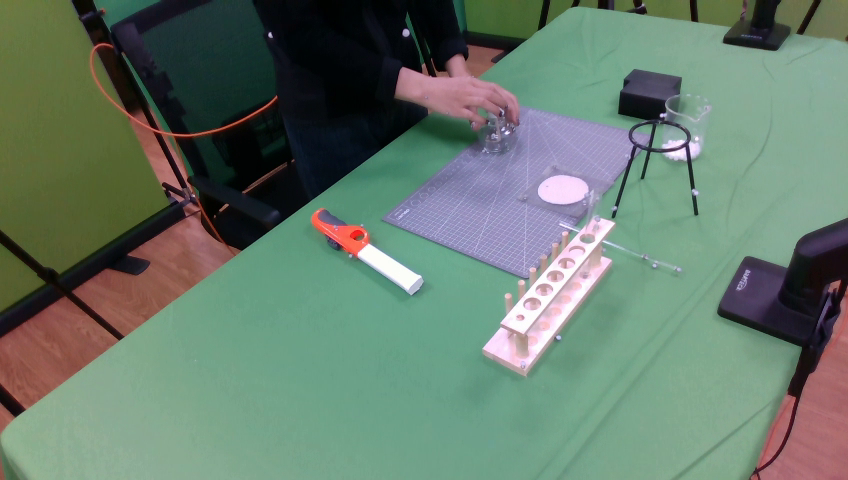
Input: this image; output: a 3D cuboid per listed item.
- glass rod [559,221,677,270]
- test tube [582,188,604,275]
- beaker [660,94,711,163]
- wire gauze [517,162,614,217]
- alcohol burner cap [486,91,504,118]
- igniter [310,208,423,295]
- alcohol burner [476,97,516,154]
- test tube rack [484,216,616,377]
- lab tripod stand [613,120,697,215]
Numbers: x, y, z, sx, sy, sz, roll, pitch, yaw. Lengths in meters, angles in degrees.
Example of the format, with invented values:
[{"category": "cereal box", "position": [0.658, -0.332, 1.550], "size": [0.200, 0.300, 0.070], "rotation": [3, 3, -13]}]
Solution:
[{"category": "glass rod", "position": [0.292, 0.007, 0.927], "size": [0.198, 0.008, 0.008], "rotation": [26, 52, 36]}, {"category": "test tube", "position": [0.229, -0.007, 0.821], "size": [0.017, 0.151, 0.017], "rotation": [-3, 42, 3]}, {"category": "beaker", "position": [0.457, -0.192, 1.063], "size": [0.074, 0.101, 0.083], "rotation": [-7, 41, 4]}, {"category": "wire gauze", "position": [0.245, -0.088, 1.046], "size": [0.120, 0.011, 0.125], "rotation": [25, 50, 32]}, {"category": "alcohol burner cap", "position": [0.129, -0.253, 1.121], "size": [0.034, 0.048, 0.033], "rotation": [-11, 36, 9]}, {"category": "igniter", "position": [-0.103, 0.012, 0.982], "size": [0.057, 0.025, 0.274], "rotation": [-42, 49, -20]}, {"category": "alcohol burner", "position": [0.136, -0.225, 1.145], "size": [0.078, 0.119, 0.077], "rotation": [-5, 43, 5]}, {"category": "test tube rack", "position": [0.174, 0.064, 0.823], "size": [0.066, 0.085, 0.243], "rotation": [23, 49, 33]}, {"category": "lab tripod stand", "position": [0.369, -0.112, 0.958], "size": [0.148, 0.132, 0.147], "rotation": [-4, 40, 4]}]
